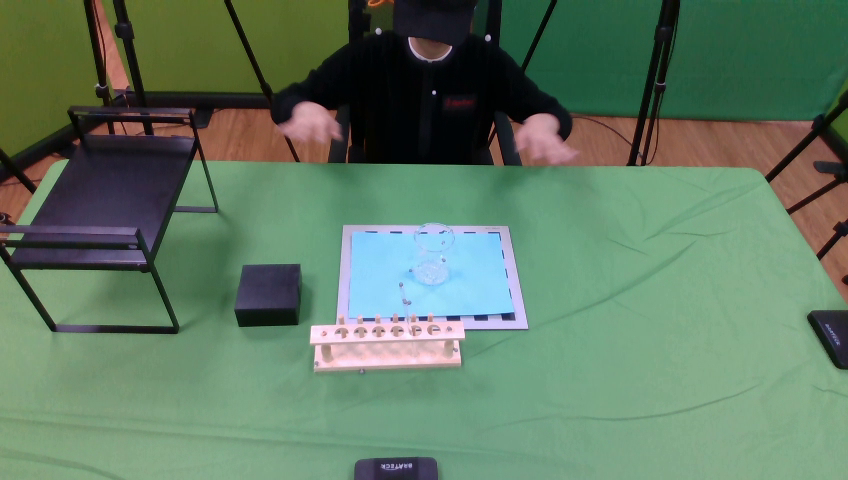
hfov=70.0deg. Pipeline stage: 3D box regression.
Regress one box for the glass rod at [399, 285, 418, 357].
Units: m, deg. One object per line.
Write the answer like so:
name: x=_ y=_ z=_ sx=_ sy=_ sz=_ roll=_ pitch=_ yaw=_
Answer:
glass rod: x=-0.023 y=0.129 z=0.932 sx=0.008 sy=0.201 sz=0.008 roll=-4 pitch=49 yaw=5

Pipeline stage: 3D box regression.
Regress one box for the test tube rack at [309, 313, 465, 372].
test tube rack: x=-0.059 y=0.161 z=0.990 sx=0.242 sy=0.085 sz=0.066 roll=-1 pitch=46 yaw=-5

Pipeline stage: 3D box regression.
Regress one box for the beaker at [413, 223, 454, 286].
beaker: x=0.018 y=0.027 z=1.110 sx=0.073 sy=0.101 sz=0.084 roll=37 pitch=54 yaw=28
